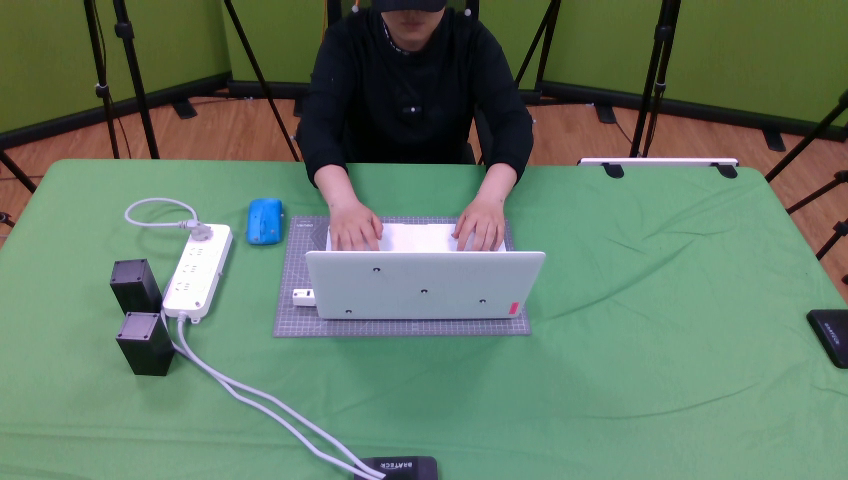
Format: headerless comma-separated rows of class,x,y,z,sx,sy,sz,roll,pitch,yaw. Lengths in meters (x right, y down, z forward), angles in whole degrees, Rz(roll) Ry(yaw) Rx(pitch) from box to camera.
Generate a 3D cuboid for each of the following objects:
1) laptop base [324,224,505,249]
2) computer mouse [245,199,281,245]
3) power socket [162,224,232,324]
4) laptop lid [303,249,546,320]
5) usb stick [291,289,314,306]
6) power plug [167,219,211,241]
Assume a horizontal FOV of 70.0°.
laptop base,-0.014,0.055,1.144,0.355,0.023,0.234,0,42,-4
computer mouse,-0.318,-0.039,1.201,0.063,0.041,0.116,0,50,-8
power socket,-0.411,0.052,1.106,0.072,0.033,0.225,3,45,-1
laptop lid,-0.002,0.077,0.962,0.357,0.242,0.013,1,58,-5
usb stick,-0.203,0.102,1.066,0.059,0.027,0.021,4,45,-5
power plug,-0.438,-0.017,1.143,0.072,0.053,0.035,11,43,7
